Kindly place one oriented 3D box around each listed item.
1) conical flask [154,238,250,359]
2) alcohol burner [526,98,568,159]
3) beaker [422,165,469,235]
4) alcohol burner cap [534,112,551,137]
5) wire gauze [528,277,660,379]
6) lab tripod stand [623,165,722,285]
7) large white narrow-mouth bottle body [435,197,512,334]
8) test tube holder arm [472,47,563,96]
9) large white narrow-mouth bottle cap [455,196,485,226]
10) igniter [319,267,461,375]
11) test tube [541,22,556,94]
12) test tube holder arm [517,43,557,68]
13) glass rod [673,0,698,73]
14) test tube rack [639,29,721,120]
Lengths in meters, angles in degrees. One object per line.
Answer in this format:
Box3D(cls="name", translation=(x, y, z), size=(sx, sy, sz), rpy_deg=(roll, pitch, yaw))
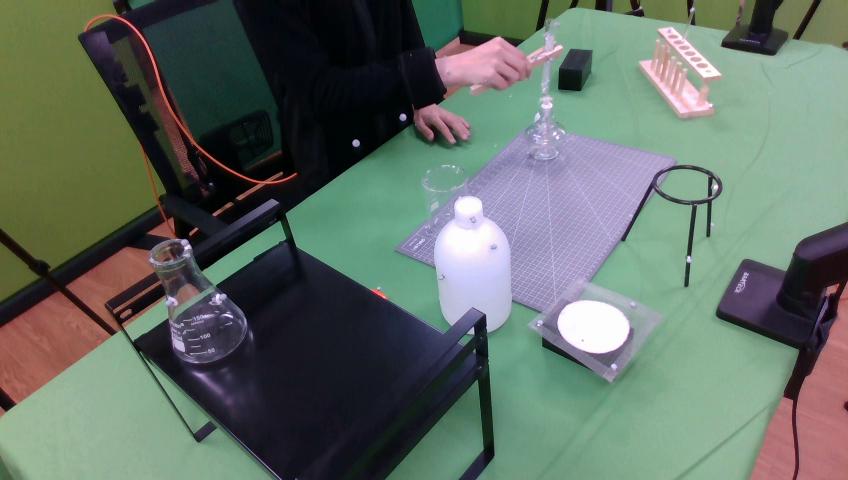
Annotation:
Box3D(cls="conical flask", translation=(-0.225, 0.055, 0.597), size=(0.075, 0.122, 0.075), rpy_deg=(-5, 41, 4))
Box3D(cls="alcohol burner", translation=(0.228, -0.210, 1.118), size=(0.078, 0.119, 0.077), rpy_deg=(-5, 43, 5))
Box3D(cls="beaker", translation=(0.041, -0.063, 0.986), size=(0.073, 0.101, 0.084), rpy_deg=(20, 47, 29))
Box3D(cls="alcohol burner cap", translation=(0.235, -0.231, 1.197), size=(0.034, 0.048, 0.033), rpy_deg=(-5, 38, 4))
Box3D(cls="wire gauze", translation=(0.213, 0.103, 0.763), size=(0.124, 0.011, 0.122), rpy_deg=(30, 52, 35))
Box3D(cls="lab tripod stand", translation=(0.365, -0.030, 0.874), size=(0.148, 0.132, 0.147), rpy_deg=(-6, 41, 6))
Box3D(cls="large white narrow-mouth bottle body", translation=(0.066, 0.028, 0.805), size=(0.102, 0.195, 0.101), rpy_deg=(-4, 40, 4))
Box3D(cls="test tube holder arm", translation=(0.151, -0.271, 0.968), size=(0.179, 0.015, 0.013), rpy_deg=(-29, 58, -18))
Box3D(cls="large white narrow-mouth bottle cap", translation=(0.057, -0.036, 0.749), size=(0.038, 0.024, 0.037), rpy_deg=(-4, 40, 4))
Box3D(cls="igniter", translation=(-0.060, 0.108, 0.862), size=(0.274, 0.025, 0.057), rpy_deg=(28, 62, 35))
Box3D(cls="test tube", translation=(0.207, -0.298, 1.004), size=(0.017, 0.151, 0.017), rpy_deg=(-3, 59, 6))
Box3D(cls="test tube holder arm", translation=(0.184, -0.297, 0.986), size=(0.088, 0.015, 0.010), rpy_deg=(-37, 61, -22))
Box3D(cls="glass rod", translation=(0.537, -0.425, 1.244), size=(0.008, 0.200, 0.008), rpy_deg=(0, 47, 0))
Box3D(cls="test tube rack", translation=(0.527, -0.351, 1.262), size=(0.067, 0.085, 0.241), rpy_deg=(-8, 40, 1))
